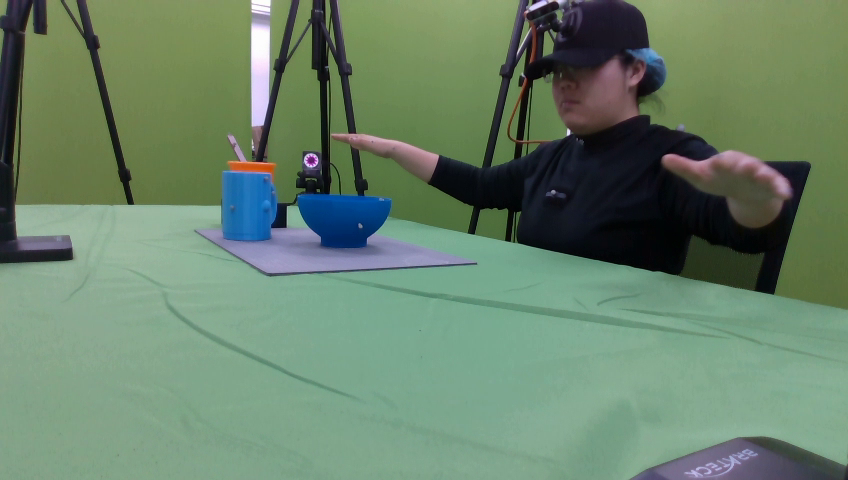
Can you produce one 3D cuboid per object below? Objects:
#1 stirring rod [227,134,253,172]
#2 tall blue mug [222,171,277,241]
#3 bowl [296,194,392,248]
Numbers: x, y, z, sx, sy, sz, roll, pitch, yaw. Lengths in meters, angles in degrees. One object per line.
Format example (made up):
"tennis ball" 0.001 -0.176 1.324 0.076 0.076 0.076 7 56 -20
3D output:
"stirring rod" -0.353 -0.148 1.197 0.014 0.006 0.175 -3 51 -46
"tall blue mug" -0.290 -0.059 1.003 0.078 0.108 0.107 1 7 -6
"bowl" -0.128 -0.030 0.964 0.151 0.077 0.151 2 7 0
